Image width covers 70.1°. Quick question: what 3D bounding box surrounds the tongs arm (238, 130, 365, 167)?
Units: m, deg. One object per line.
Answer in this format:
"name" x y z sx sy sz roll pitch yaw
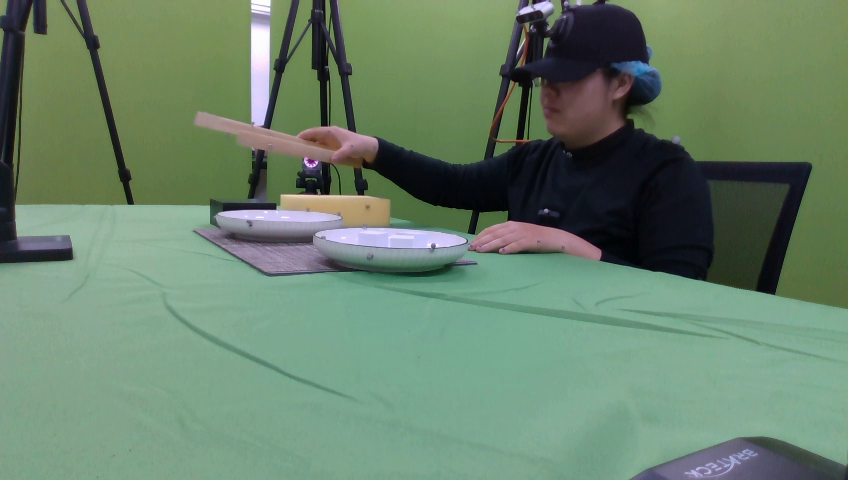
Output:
"tongs arm" -0.216 -0.170 1.157 0.028 0.028 0.389 18 8 25

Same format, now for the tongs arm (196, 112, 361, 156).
"tongs arm" -0.266 -0.193 1.189 0.050 0.026 0.387 24 10 32

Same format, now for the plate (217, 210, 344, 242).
"plate" -0.241 -0.024 1.026 0.208 0.039 0.207 3 7 0

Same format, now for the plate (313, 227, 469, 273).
"plate" -0.044 0.012 0.807 0.209 0.038 0.209 2 7 0

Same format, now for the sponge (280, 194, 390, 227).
"sponge" -0.188 -0.063 1.291 0.208 0.061 0.117 -2 9 -35
